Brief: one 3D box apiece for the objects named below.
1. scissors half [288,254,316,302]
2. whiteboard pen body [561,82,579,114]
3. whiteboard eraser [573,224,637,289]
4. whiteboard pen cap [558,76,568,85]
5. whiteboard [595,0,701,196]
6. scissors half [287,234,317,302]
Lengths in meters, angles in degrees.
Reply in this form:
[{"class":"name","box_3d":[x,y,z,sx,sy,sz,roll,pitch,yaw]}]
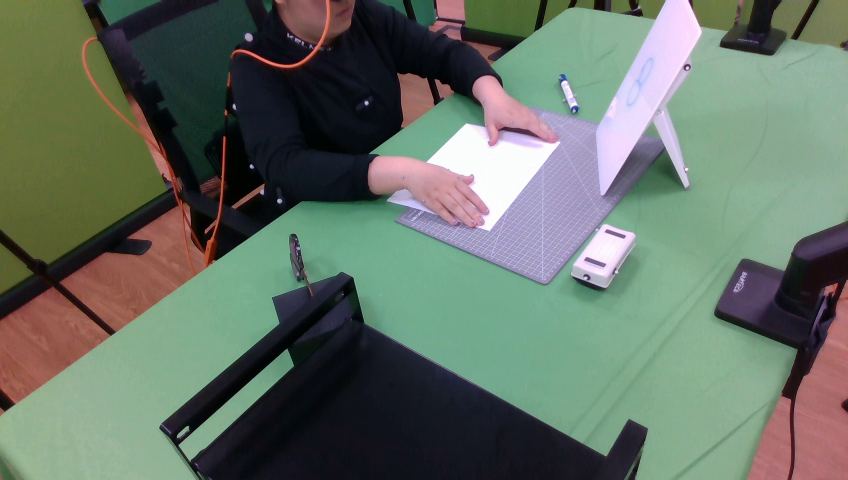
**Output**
[{"class":"scissors half","box_3d":[-0.178,0.058,0.894,0.013,0.040,0.174,-15,20,-18]},{"class":"whiteboard pen body","box_3d":[0.310,-0.311,1.297,0.017,0.017,0.140,-6,41,2]},{"class":"whiteboard eraser","box_3d":[0.267,0.025,0.891,0.055,0.042,0.113,19,47,31]},{"class":"whiteboard pen cap","box_3d":[0.309,-0.350,1.341,0.018,0.018,0.033,-6,41,2]},{"class":"whiteboard","box_3d":[0.420,-0.227,1.010,0.144,0.305,0.216,18,42,-2]},{"class":"scissors half","box_3d":[-0.178,0.040,0.885,0.013,0.040,0.173,-10,36,-21]}]
